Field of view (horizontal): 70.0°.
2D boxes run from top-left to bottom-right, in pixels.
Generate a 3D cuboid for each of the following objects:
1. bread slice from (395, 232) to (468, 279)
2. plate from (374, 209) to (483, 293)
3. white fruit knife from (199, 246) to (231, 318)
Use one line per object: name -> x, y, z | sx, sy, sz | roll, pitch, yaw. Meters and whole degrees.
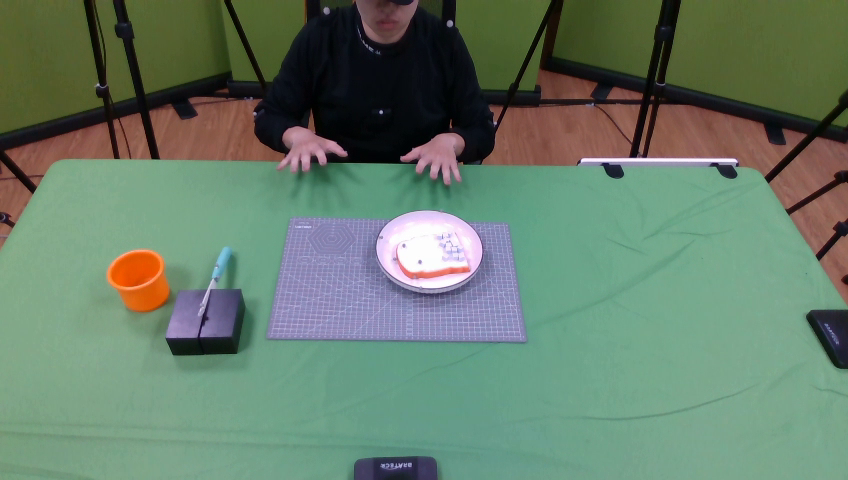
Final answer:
bread slice -> 0.011, 0.030, 1.158 | 0.132, 0.019, 0.104 | -8, 47, -14
plate -> 0.009, 0.024, 1.160 | 0.209, 0.038, 0.208 | 2, 46, -2
white fruit knife -> -0.367, 0.069, 1.063 | 0.016, 0.027, 0.206 | -1, 32, -4
